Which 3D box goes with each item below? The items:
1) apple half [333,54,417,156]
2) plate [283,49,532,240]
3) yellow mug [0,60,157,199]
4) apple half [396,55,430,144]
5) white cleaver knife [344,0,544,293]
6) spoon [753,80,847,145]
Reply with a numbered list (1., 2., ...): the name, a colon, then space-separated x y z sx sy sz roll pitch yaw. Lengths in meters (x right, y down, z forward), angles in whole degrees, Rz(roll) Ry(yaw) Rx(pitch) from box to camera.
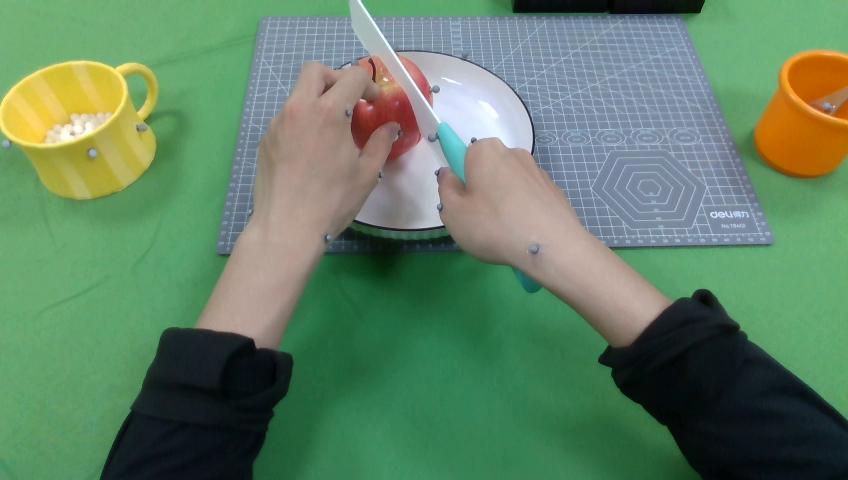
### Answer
1. apple half: -0.046 -0.105 0.502 0.053 0.075 0.080 -32 67 -11
2. plate: -0.014 -0.082 0.520 0.209 0.038 0.207 1 57 -1
3. yellow mug: -0.281 -0.104 0.515 0.099 0.064 0.130 29 59 17
4. apple half: -0.014 -0.122 0.513 0.033 0.082 0.080 -29 61 -15
5. white cleaver knife: 0.006 -0.082 0.455 0.021 0.066 0.284 -27 70 -9
6. spoon: 0.371 -0.137 0.499 0.022 0.194 0.041 27 42 -37
